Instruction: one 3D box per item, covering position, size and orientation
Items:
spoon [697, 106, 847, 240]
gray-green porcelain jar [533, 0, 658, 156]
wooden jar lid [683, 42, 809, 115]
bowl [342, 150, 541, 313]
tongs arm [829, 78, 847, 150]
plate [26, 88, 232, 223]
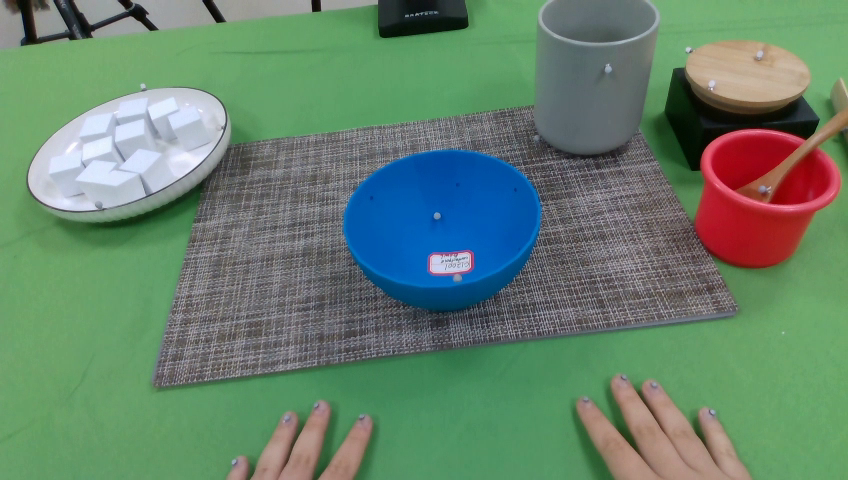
[{"bbox_3d":[0.298,-0.067,0.473,0.022,0.194,0.041,26,29,-32],"label":"spoon"},{"bbox_3d":[0.158,-0.153,0.580,0.106,0.128,0.105,-4,47,4],"label":"gray-green porcelain jar"},{"bbox_3d":[0.300,-0.151,0.570,0.108,0.021,0.107,-4,46,5],"label":"wooden jar lid"},{"bbox_3d":[0.016,0.005,0.482,0.151,0.077,0.150,-3,46,4],"label":"bowl"},{"bbox_3d":[0.392,-0.017,0.496,0.028,0.028,0.384,5,48,9],"label":"tongs arm"},{"bbox_3d":[-0.303,-0.088,0.640,0.209,0.038,0.207,-4,46,5],"label":"plate"}]
